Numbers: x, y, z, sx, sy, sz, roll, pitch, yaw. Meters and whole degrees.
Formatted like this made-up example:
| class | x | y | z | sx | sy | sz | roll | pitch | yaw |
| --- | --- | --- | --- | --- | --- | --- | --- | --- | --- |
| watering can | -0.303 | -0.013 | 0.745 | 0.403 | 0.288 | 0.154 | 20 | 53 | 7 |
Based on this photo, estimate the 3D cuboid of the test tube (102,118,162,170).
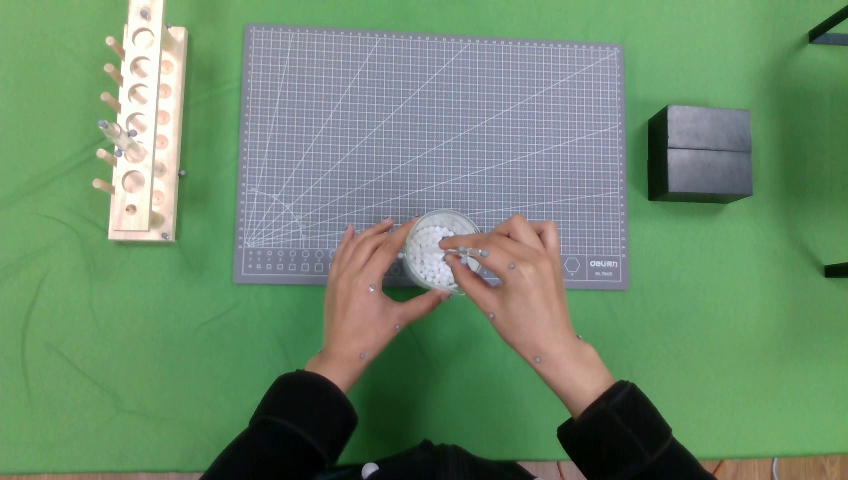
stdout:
| class | x | y | z | sx | sy | sz | roll | pitch | yaw |
| --- | --- | --- | --- | --- | --- | --- | --- | --- | --- |
| test tube | -0.277 | -0.089 | 0.582 | 0.017 | 0.150 | 0.017 | 1 | 84 | -11 |

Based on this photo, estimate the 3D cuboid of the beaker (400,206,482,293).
| class | x | y | z | sx | sy | sz | roll | pitch | yaw |
| --- | --- | --- | --- | --- | --- | --- | --- | --- | --- |
| beaker | 0.014 | 0.015 | 0.601 | 0.074 | 0.100 | 0.084 | -23 | 87 | -8 |

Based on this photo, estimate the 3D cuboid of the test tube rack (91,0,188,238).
| class | x | y | z | sx | sy | sz | roll | pitch | yaw |
| --- | --- | --- | --- | --- | --- | --- | --- | --- | --- |
| test tube rack | -0.301 | -0.128 | 0.635 | 0.067 | 0.085 | 0.241 | 2 | 83 | -5 |

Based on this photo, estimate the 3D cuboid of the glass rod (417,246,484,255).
| class | x | y | z | sx | sy | sz | roll | pitch | yaw |
| --- | --- | --- | --- | --- | --- | --- | --- | --- | --- |
| glass rod | 0.018 | 0.009 | 0.540 | 0.008 | 0.199 | 0.008 | 0 | 89 | -14 |
